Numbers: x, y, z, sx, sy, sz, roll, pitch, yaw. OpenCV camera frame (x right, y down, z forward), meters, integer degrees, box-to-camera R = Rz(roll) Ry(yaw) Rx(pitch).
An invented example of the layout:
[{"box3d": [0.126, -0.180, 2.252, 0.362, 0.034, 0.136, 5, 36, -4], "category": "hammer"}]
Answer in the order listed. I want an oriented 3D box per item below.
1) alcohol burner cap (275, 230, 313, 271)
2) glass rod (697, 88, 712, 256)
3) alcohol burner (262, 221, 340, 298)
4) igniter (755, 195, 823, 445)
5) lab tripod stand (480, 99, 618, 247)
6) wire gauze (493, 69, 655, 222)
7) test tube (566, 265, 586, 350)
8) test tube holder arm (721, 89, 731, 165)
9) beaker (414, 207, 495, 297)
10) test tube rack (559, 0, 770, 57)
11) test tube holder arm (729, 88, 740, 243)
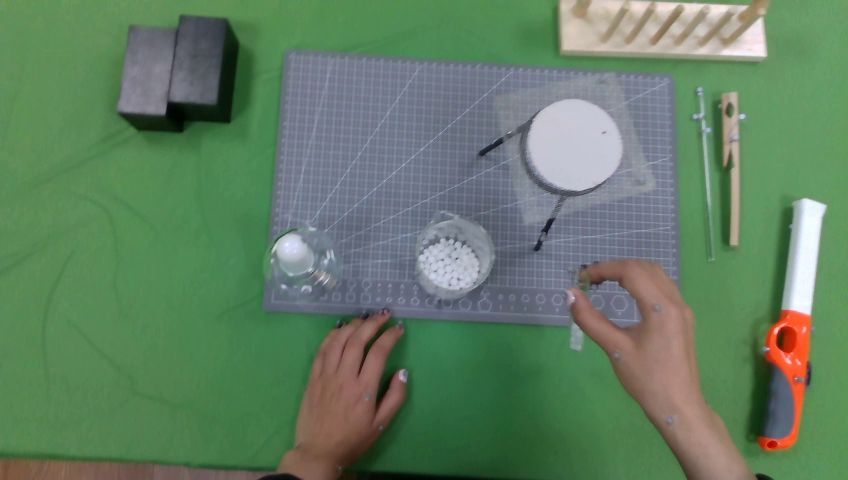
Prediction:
[{"box3d": [-0.122, 0.007, 0.558, 0.034, 0.048, 0.033, 2, 70, -4], "category": "alcohol burner cap"}, {"box3d": [0.318, -0.080, 0.689, 0.008, 0.008, 0.199, 2, 80, -3], "category": "glass rod"}, {"box3d": [-0.123, 0.016, 0.593, 0.078, 0.119, 0.077, 1, 77, -2], "category": "alcohol burner"}, {"box3d": [0.397, 0.085, 0.656, 0.057, 0.025, 0.275, 16, 80, -10], "category": "igniter"}, {"box3d": [0.126, -0.076, 0.612, 0.148, 0.132, 0.148, 0, 81, -1], "category": "lab tripod stand"}, {"box3d": [0.134, -0.089, 0.547, 0.121, 0.011, 0.124, -13, 81, -4], "category": "wire gauze"}, {"box3d": [0.136, 0.065, 0.544, 0.017, 0.152, 0.017, -6, 57, 9], "category": "test tube"}, {"box3d": [0.347, -0.129, 0.695, 0.010, 0.015, 0.087, -3, 79, 31], "category": "test tube holder arm"}, {"box3d": [0.025, 0.016, 0.609, 0.074, 0.100, 0.083, -18, 81, -6], "category": "beaker"}, {"box3d": [0.282, -0.259, 0.679, 0.242, 0.085, 0.066, 1, 80, -3], "category": "test tube rack"}, {"box3d": [0.350, -0.085, 0.685, 0.013, 0.015, 0.177, -3, 79, 31], "category": "test tube holder arm"}]
